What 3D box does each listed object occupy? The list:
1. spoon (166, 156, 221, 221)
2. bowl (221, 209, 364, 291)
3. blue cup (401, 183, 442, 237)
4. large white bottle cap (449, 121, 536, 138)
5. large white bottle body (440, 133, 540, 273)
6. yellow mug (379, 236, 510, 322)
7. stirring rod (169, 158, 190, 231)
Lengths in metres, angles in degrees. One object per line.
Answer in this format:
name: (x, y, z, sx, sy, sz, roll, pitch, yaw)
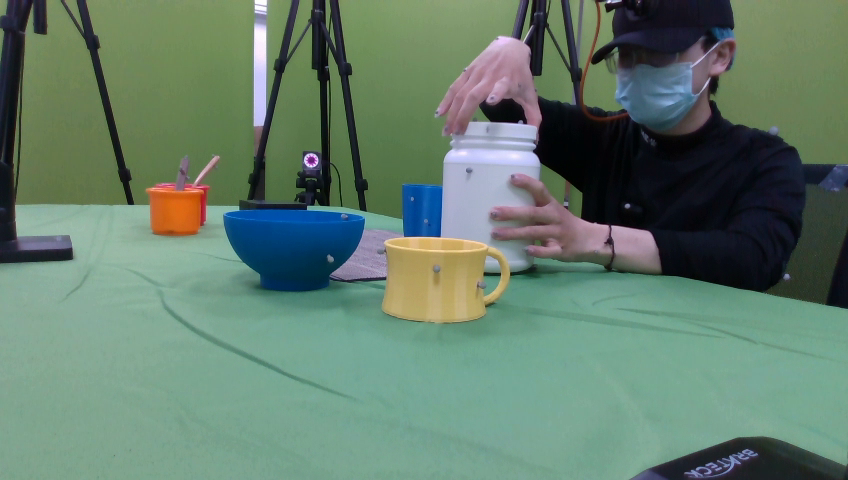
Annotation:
spoon: (-0.447, -0.104, 1.192, 0.041, 0.022, 0.193, 7, 52, 14)
bowl: (-0.142, 0.011, 0.660, 0.151, 0.077, 0.151, 2, 7, 0)
blue cup: (0.002, -0.038, 0.966, 0.093, 0.100, 0.092, 3, 9, 0)
large white bottle cap: (0.091, -0.146, 0.802, 0.115, 0.018, 0.115, 3, 8, 0)
large white bottle body: (0.088, -0.056, 0.813, 0.131, 0.184, 0.130, 2, 7, 0)
yellow mug: (0.024, 0.034, 0.575, 0.131, 0.064, 0.099, 1, 7, -22)
stirring rod: (-0.427, -0.082, 1.059, 0.014, 0.006, 0.175, 2, 49, -13)
